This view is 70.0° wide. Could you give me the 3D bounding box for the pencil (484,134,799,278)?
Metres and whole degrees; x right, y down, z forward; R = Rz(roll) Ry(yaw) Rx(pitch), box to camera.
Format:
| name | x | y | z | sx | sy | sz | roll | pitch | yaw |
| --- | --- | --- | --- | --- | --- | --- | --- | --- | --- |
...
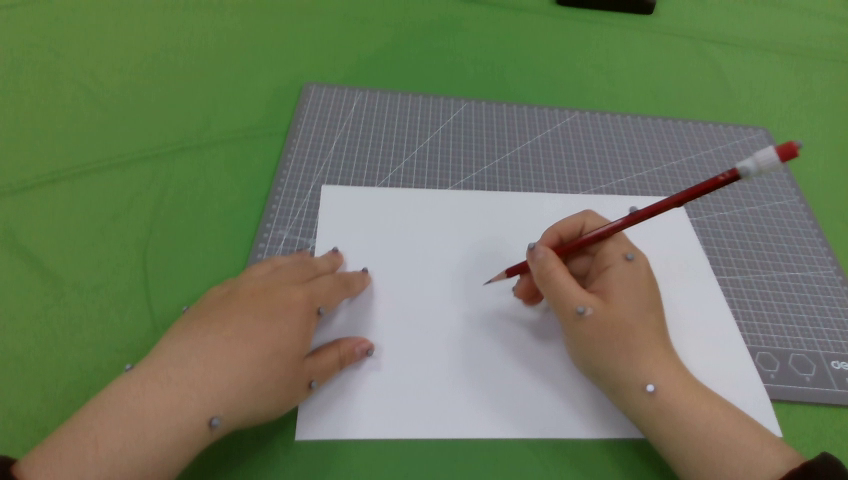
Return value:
| name | x | y | z | sx | sy | sz | roll | pitch | yaw |
| --- | --- | --- | --- | --- | --- | --- | --- | --- | --- |
| pencil | 0.113 | -0.012 | 0.353 | 0.012 | 0.194 | 0.012 | 34 | 43 | -38 |
